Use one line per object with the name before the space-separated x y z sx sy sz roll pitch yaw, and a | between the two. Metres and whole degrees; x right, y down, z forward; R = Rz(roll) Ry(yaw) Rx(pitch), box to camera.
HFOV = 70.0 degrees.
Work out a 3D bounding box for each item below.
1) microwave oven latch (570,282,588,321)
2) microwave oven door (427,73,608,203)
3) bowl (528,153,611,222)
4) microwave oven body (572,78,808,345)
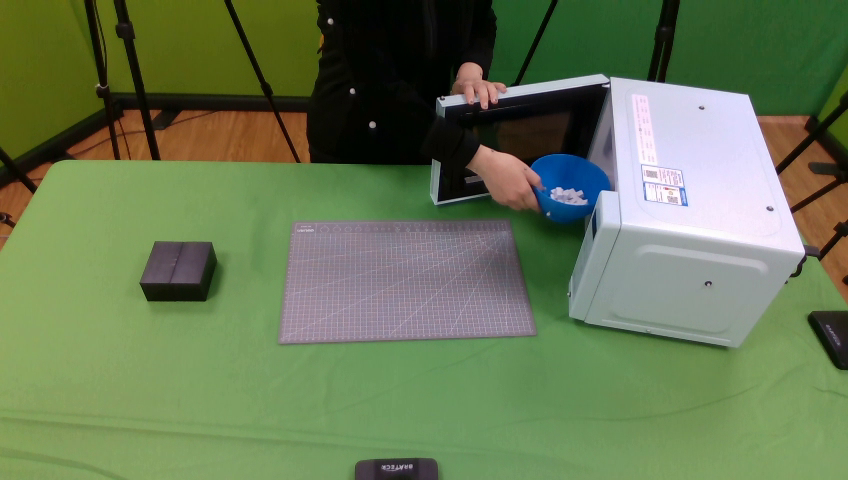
microwave oven latch | 0.276 0.105 1.082 0.030 0.029 0.079 10 45 6
microwave oven door | 0.186 -0.206 1.234 0.356 0.245 0.039 -12 48 -15
bowl | 0.263 -0.087 1.133 0.151 0.077 0.150 4 45 -3
microwave oven body | 0.455 -0.063 1.125 0.326 0.261 0.439 8 45 5
